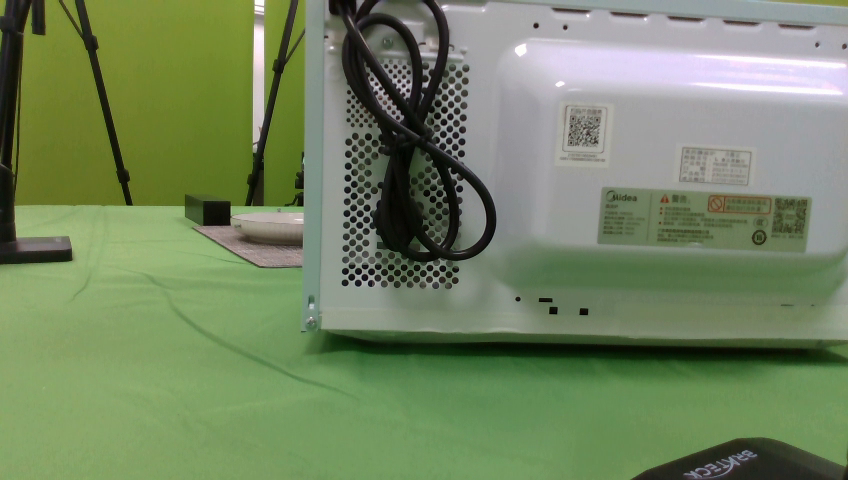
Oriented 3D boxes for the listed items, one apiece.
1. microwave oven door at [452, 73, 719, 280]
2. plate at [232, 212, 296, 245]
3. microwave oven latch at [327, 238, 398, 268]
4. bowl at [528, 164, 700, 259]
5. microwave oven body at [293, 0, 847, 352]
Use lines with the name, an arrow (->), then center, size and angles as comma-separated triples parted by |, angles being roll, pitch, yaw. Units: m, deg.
microwave oven door -> 0.194, -0.091, 0.815 | 0.354, 0.243, 0.039 | 8, 9, 38
plate -> -0.214, -0.019, 1.018 | 0.208, 0.039, 0.207 | 2, 7, 0
microwave oven latch -> -0.070, 0.015, 0.694 | 0.079, 0.029, 0.030 | 3, 7, -3
bowl -> 0.170, -0.027, 0.558 | 0.151, 0.077, 0.151 | 0, 10, 0
microwave oven body -> 0.122, -0.055, 0.550 | 0.442, 0.260, 0.325 | 3, 7, -5
